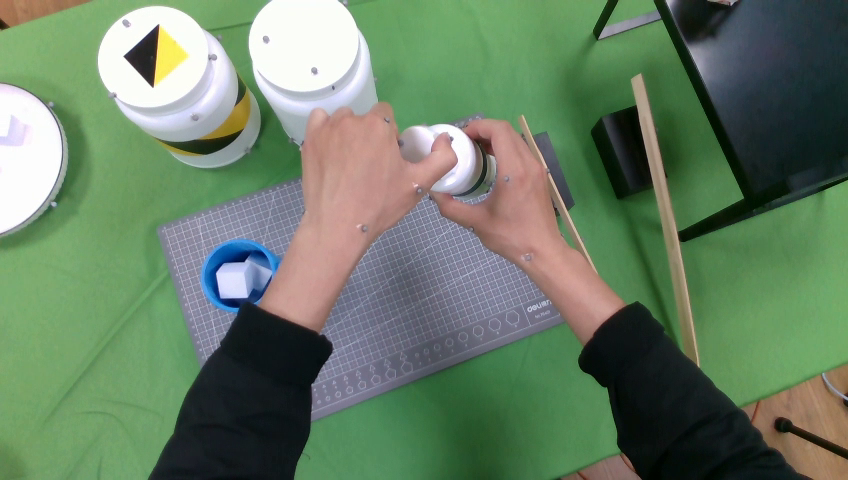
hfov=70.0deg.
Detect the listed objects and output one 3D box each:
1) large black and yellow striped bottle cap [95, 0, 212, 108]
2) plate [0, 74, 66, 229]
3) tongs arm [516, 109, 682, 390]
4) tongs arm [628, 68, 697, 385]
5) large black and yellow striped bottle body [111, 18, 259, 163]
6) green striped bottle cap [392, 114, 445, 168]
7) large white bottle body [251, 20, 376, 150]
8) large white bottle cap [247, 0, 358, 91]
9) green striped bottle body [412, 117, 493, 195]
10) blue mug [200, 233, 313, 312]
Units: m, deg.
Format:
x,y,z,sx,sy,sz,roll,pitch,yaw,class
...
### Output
x,y,z,sx,sy,sz,roll,pitch,yaw,class
-0.282,-0.195,0.632,0.115,0.019,0.114,0,81,-2,large black and yellow striped bottle cap
-0.557,-0.109,0.772,0.208,0.039,0.207,0,81,-1,plate
0.211,0.012,0.730,0.051,0.026,0.385,-25,93,-8,tongs arm
0.288,-0.016,0.738,0.028,0.027,0.387,-12,92,-11,tongs arm
-0.282,-0.178,0.714,0.131,0.184,0.130,0,80,0,large black and yellow striped bottle body
-0.005,-0.082,0.506,0.044,0.020,0.044,8,105,32,green striped bottle cap
-0.127,-0.196,0.719,0.131,0.185,0.130,0,79,-1,large white bottle body
-0.127,-0.212,0.636,0.115,0.018,0.114,0,80,-1,large white bottle cap
0.025,-0.080,0.583,0.063,0.120,0.063,0,88,18,green striped bottle body
-0.190,0.038,0.717,0.116,0.106,0.082,-13,80,-3,blue mug
